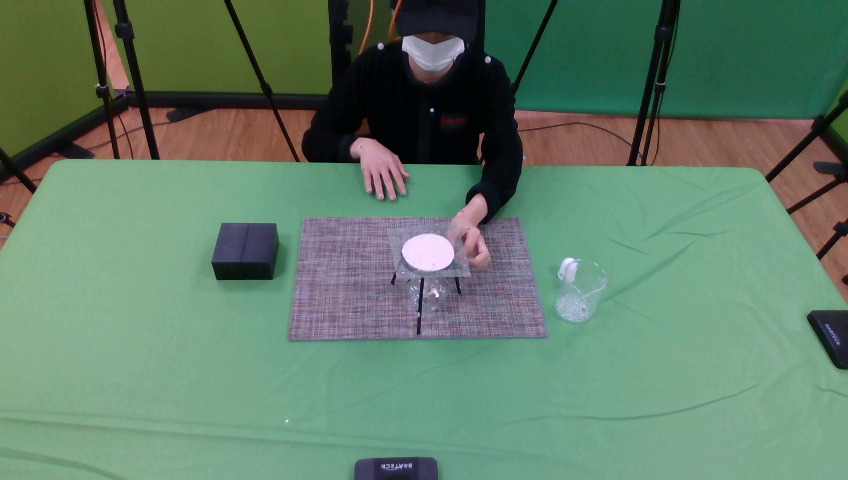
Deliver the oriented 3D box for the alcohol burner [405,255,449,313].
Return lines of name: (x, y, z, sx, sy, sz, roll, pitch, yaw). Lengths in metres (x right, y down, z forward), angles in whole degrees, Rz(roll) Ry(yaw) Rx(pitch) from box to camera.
alcohol burner: (0.006, 0.071, 1.060, 0.078, 0.120, 0.077, 1, 45, -1)

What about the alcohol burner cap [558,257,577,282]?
alcohol burner cap: (0.276, 0.053, 1.154, 0.034, 0.048, 0.033, 2, 46, -1)

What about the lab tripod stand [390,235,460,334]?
lab tripod stand: (-0.002, 0.067, 1.050, 0.148, 0.132, 0.147, 1, 47, -1)

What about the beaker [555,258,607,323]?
beaker: (0.275, 0.094, 1.073, 0.074, 0.101, 0.083, 10, 47, 6)

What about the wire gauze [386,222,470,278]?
wire gauze: (0.004, 0.016, 1.005, 0.125, 0.011, 0.120, -5, 46, -8)
